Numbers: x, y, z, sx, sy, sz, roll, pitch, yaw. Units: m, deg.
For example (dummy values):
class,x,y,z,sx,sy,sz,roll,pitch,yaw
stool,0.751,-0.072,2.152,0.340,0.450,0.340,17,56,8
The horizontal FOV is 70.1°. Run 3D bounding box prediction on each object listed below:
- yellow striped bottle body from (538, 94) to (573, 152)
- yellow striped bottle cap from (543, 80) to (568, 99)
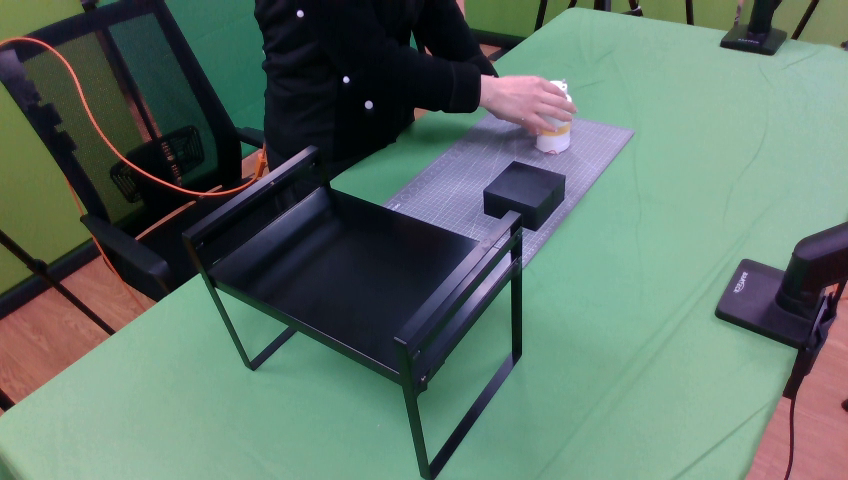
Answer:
class,x,y,z,sx,sy,sz,roll,pitch,yaw
yellow striped bottle body,0.244,-0.231,1.127,0.063,0.121,0.062,-5,40,4
yellow striped bottle cap,0.238,-0.272,1.092,0.044,0.019,0.044,-2,38,2
